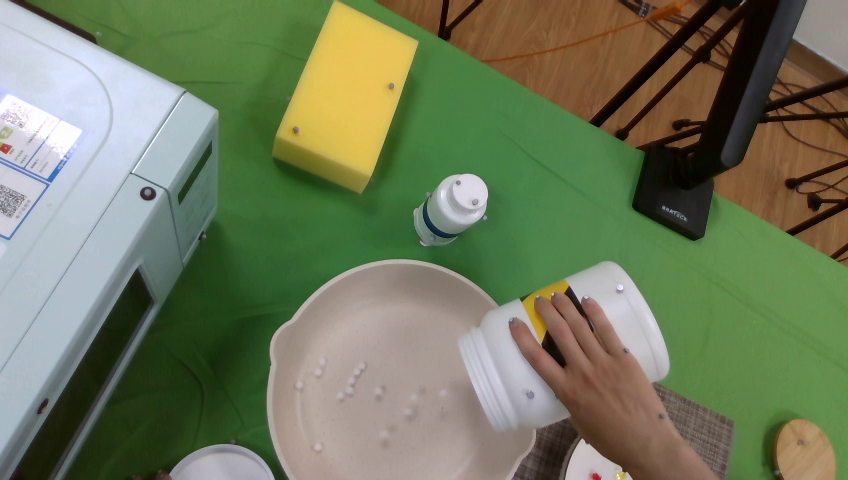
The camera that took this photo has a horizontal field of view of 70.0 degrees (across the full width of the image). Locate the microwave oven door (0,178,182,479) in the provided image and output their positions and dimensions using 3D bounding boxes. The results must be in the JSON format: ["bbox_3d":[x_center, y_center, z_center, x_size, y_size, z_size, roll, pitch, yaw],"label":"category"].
[{"bbox_3d":[-0.299,0.138,0.474,0.039,0.244,0.354,26,67,-10],"label":"microwave oven door"}]

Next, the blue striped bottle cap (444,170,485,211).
[{"bbox_3d":[0.046,-0.056,0.683,0.045,0.020,0.044,5,75,-18],"label":"blue striped bottle cap"}]

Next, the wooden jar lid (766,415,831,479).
[{"bbox_3d":[0.531,0.305,0.863,0.109,0.021,0.108,5,74,-17],"label":"wooden jar lid"}]

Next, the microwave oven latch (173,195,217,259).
[{"bbox_3d":[-0.251,-0.021,0.649,0.030,0.029,0.079,29,68,-10],"label":"microwave oven latch"}]

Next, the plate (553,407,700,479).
[{"bbox_3d":[0.247,0.313,0.746,0.210,0.038,0.208,6,73,-18],"label":"plate"}]

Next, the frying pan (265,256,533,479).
[{"bbox_3d":[-0.058,0.250,0.621,0.308,0.103,0.484,25,60,-9],"label":"frying pan"}]

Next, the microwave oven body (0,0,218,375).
[{"bbox_3d":[-0.414,0.039,0.468,0.327,0.260,0.439,27,68,-11],"label":"microwave oven body"}]

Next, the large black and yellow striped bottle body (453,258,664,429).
[{"bbox_3d":[0.134,0.111,0.629,0.184,0.131,0.130,-24,82,4],"label":"large black and yellow striped bottle body"}]

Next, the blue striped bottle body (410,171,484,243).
[{"bbox_3d":[0.030,-0.041,0.729,0.063,0.121,0.062,5,73,-18],"label":"blue striped bottle body"}]

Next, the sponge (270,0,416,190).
[{"bbox_3d":[-0.099,-0.182,0.756,0.119,0.061,0.205,21,69,-12],"label":"sponge"}]
